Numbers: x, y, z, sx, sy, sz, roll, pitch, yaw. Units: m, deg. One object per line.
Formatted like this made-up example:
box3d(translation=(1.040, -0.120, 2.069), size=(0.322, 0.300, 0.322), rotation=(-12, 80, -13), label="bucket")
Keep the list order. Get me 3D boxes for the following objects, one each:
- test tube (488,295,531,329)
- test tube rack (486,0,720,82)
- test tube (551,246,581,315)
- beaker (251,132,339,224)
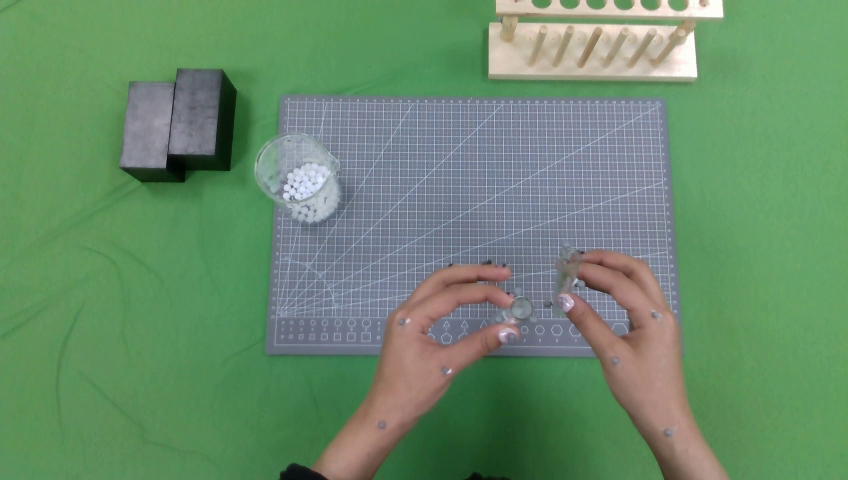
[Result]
box3d(translation=(0.062, 0.057, 0.463), size=(0.017, 0.151, 0.017), rotation=(0, 79, 1), label="test tube")
box3d(translation=(0.195, -0.230, 0.685), size=(0.242, 0.085, 0.066), rotation=(1, 78, 0), label="test tube rack")
box3d(translation=(0.112, 0.036, 0.486), size=(0.017, 0.151, 0.017), rotation=(-3, 69, 9), label="test tube")
box3d(translation=(-0.128, -0.061, 0.640), size=(0.084, 0.100, 0.073), rotation=(-7, 79, -2), label="beaker")
